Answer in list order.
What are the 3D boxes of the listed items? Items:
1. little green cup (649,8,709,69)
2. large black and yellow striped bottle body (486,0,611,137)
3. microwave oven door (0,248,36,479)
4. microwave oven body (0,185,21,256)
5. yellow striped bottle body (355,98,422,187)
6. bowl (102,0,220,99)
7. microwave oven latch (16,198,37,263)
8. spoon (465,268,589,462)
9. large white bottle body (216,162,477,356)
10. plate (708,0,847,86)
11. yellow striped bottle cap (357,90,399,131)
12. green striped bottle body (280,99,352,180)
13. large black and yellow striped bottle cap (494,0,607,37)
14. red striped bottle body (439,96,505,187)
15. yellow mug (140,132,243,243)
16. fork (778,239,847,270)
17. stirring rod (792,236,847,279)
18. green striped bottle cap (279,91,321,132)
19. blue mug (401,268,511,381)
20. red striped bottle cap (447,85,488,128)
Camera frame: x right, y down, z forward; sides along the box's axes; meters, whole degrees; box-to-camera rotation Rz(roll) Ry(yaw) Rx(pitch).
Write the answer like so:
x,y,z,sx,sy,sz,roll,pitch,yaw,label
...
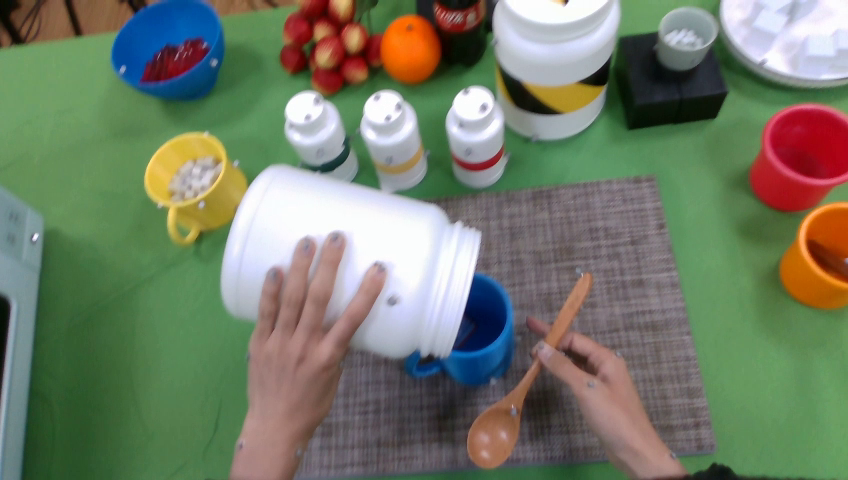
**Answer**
x,y,z,sx,sy,sz,roll,pitch,yaw,label
0.287,-0.227,0.687,0.061,0.039,0.061,-2,62,5,little green cup
0.137,-0.217,0.680,0.130,0.185,0.129,-3,65,7,large black and yellow striped bottle body
-0.462,0.139,0.548,0.039,0.246,0.352,-14,64,2,microwave oven door
-0.612,0.140,0.574,0.326,0.262,0.437,-14,65,1,microwave oven body
-0.041,-0.117,0.695,0.063,0.121,0.062,-3,64,7,yellow striped bottle body
-0.339,-0.245,0.821,0.151,0.077,0.150,-3,65,7,bowl
-0.492,-0.010,0.734,0.030,0.030,0.078,-12,65,2,microwave oven latch
0.095,0.110,0.533,0.041,0.022,0.194,31,98,15,spoon
-0.058,0.020,0.501,0.185,0.131,0.130,16,67,-1,large white bottle body
0.454,-0.268,0.740,0.209,0.038,0.207,-3,65,7,plate
-0.049,-0.139,0.648,0.044,0.019,0.044,-2,61,3,yellow striped bottle cap
-0.127,-0.118,0.708,0.063,0.120,0.062,-3,64,7,green striped bottle body
0.125,-0.253,0.602,0.115,0.019,0.114,-4,66,10,large black and yellow striped bottle cap
0.054,-0.117,0.682,0.063,0.121,0.062,-6,61,12,red striped bottle body
-0.284,-0.059,0.732,0.100,0.064,0.130,4,66,10,yellow mug
0.418,0.028,0.544,0.028,0.019,0.206,-43,22,-10,fork
0.388,0.030,0.555,0.014,0.006,0.175,-3,22,4,stirring rod
-0.135,-0.141,0.661,0.044,0.020,0.044,-2,64,5,green striped bottle cap
0.029,0.093,0.589,0.116,0.107,0.081,-31,64,-7,blue mug
0.045,-0.140,0.634,0.044,0.018,0.044,-1,63,3,red striped bottle cap
